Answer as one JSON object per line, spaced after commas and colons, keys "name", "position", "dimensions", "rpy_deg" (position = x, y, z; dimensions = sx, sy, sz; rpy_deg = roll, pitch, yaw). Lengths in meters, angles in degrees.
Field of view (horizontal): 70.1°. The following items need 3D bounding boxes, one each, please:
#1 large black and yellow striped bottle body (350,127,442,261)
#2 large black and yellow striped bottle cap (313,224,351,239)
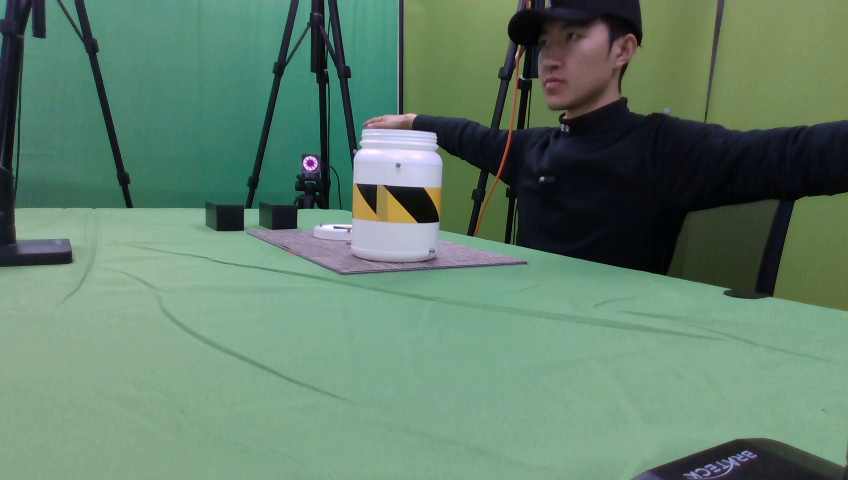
{"name": "large black and yellow striped bottle body", "position": [-0.040, -0.068, 0.881], "dimensions": [0.131, 0.184, 0.130], "rpy_deg": [2, 7, 0]}
{"name": "large black and yellow striped bottle cap", "position": [-0.145, -0.016, 1.108], "dimensions": [0.115, 0.019, 0.115], "rpy_deg": [3, 7, 0]}
